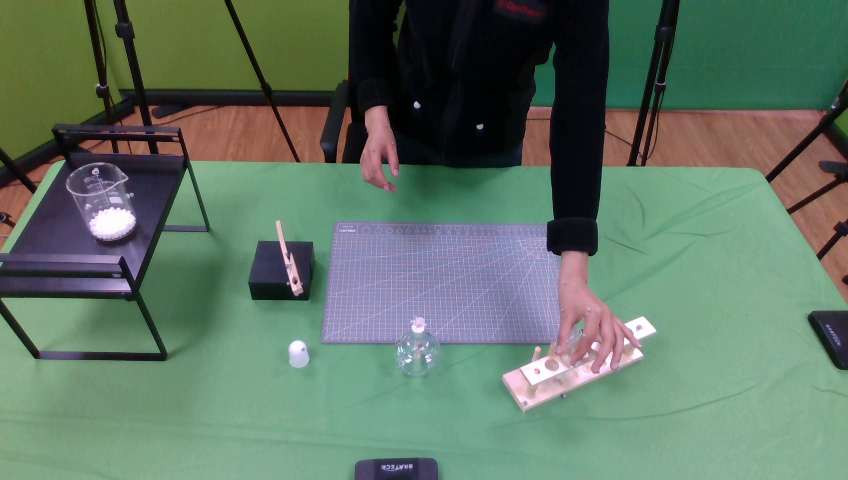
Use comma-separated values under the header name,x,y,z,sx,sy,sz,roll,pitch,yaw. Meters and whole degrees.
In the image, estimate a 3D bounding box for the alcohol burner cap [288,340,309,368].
name,x,y,z,sx,sy,sz,roll,pitch,yaw
alcohol burner cap,-0.206,0.183,0.991,0.034,0.048,0.033,3,47,-2

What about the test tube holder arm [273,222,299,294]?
name,x,y,z,sx,sy,sz,roll,pitch,yaw
test tube holder arm,-0.249,0.029,1.086,0.013,0.015,0.177,-18,49,-15

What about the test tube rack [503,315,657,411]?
name,x,y,z,sx,sy,sz,roll,pitch,yaw
test tube rack,0.253,0.186,0.989,0.242,0.085,0.066,-18,50,-20

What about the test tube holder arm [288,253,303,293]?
name,x,y,z,sx,sy,sz,roll,pitch,yaw
test tube holder arm,-0.227,0.057,1.059,0.010,0.015,0.087,-16,48,-14

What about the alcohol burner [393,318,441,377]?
name,x,y,z,sx,sy,sz,roll,pitch,yaw
alcohol burner,-0.011,0.167,0.971,0.078,0.120,0.077,1,45,-1

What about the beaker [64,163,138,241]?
name,x,y,z,sx,sy,sz,roll,pitch,yaw
beaker,-0.477,-0.055,0.910,0.084,0.101,0.073,-9,48,-13

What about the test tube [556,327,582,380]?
name,x,y,z,sx,sy,sz,roll,pitch,yaw
test tube,0.219,0.175,0.923,0.017,0.151,0.017,0,52,1
